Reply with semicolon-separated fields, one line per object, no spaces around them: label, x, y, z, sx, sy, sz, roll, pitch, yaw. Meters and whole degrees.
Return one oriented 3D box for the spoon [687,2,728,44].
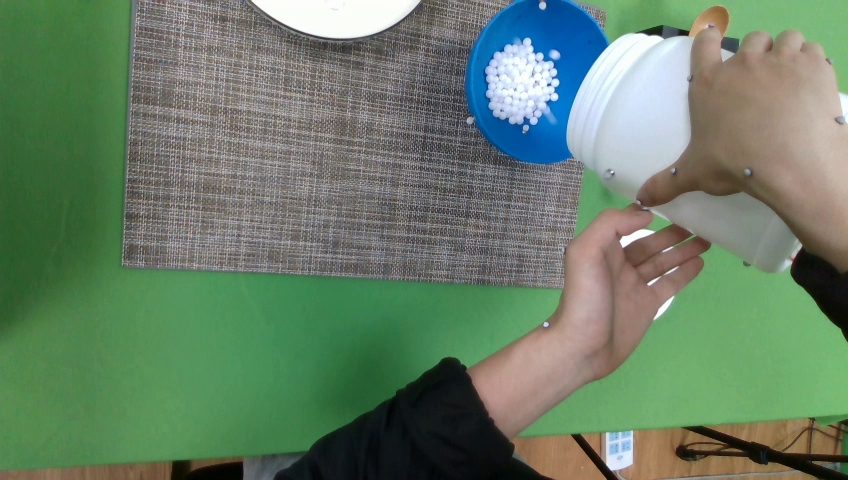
spoon;0.265;-0.149;0.631;0.042;0.021;0.194;17;98;-24

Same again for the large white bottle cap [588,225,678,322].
large white bottle cap;0.243;0.040;0.703;0.115;0.017;0.115;-3;100;-19

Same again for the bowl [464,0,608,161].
bowl;0.099;-0.152;0.588;0.152;0.076;0.151;-3;99;-18

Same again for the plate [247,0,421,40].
plate;-0.085;-0.278;0.528;0.210;0.038;0.209;-2;96;-19

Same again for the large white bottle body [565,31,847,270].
large white bottle body;0.213;-0.076;0.459;0.130;0.183;0.132;-34;144;-30
